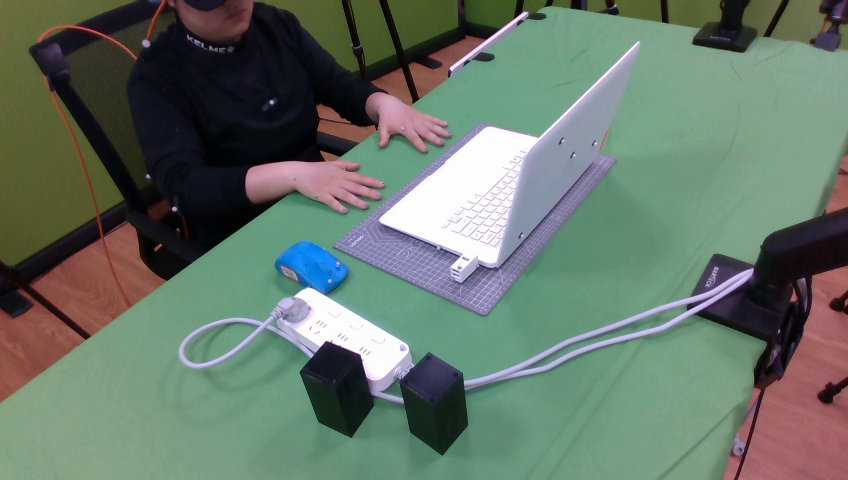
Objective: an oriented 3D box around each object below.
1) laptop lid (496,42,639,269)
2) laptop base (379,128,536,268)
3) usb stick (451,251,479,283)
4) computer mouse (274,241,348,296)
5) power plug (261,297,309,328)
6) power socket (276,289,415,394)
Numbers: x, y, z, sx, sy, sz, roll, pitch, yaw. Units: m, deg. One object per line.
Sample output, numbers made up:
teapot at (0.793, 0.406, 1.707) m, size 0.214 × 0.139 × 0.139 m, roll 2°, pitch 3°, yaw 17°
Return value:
laptop lid at (0.220, -0.130, 0.913) m, size 0.013 × 0.242 × 0.357 m, roll 31°, pitch 51°, yaw 21°
laptop base at (0.118, -0.088, 1.059) m, size 0.233 × 0.023 × 0.355 m, roll 19°, pitch 47°, yaw 32°
usb stick at (0.065, 0.036, 0.900) m, size 0.021 × 0.027 × 0.059 m, roll 24°, pitch 46°, yaw 31°
computer mouse at (-0.176, 0.040, 0.936) m, size 0.116 × 0.041 × 0.063 m, roll 27°, pitch 48°, yaw 27°
power plug at (-0.193, 0.107, 0.831) m, size 0.073 × 0.053 × 0.035 m, roll -32°, pitch 43°, yaw -25°
power socket at (-0.114, 0.133, 0.821) m, size 0.225 × 0.033 × 0.072 m, roll 25°, pitch 49°, yaw 33°
